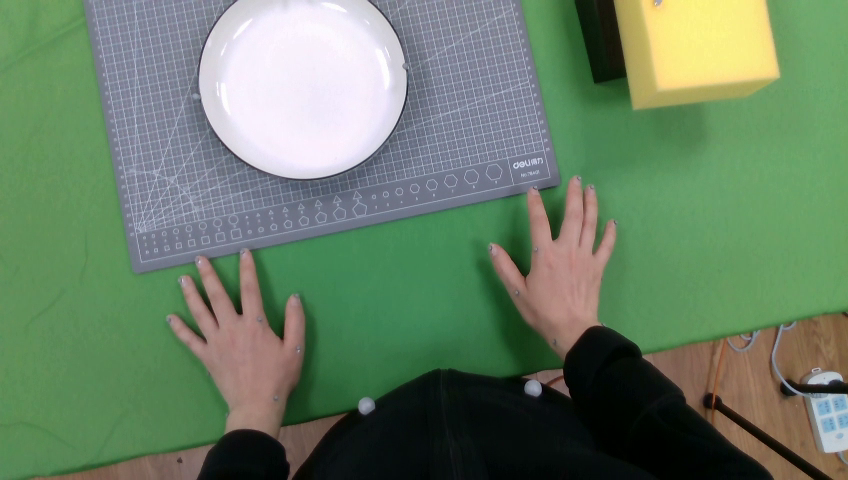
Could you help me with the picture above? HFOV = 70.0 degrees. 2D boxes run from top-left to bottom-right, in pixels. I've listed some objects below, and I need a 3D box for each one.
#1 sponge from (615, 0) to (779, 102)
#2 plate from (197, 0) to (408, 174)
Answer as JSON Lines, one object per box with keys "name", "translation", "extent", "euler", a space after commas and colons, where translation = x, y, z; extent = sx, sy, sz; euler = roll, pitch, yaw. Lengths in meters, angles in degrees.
{"name": "sponge", "translation": [0.249, -0.246, 0.579], "extent": [0.118, 0.061, 0.206], "euler": [-9, 87, -3]}
{"name": "plate", "translation": [-0.120, -0.168, 0.617], "extent": [0.209, 0.038, 0.208], "euler": [0, 86, -3]}
